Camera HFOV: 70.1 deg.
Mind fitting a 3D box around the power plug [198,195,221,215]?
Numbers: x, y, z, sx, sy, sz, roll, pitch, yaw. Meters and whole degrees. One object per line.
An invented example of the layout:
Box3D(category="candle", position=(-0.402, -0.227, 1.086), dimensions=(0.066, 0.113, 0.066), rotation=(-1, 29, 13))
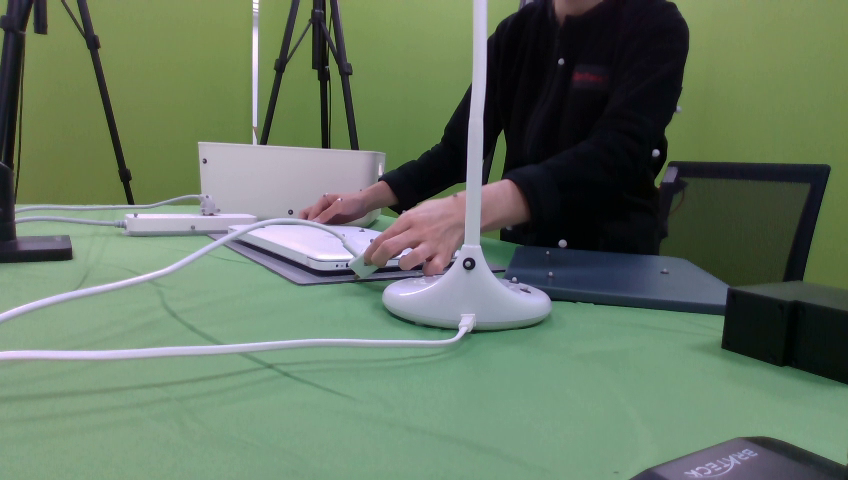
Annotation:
Box3D(category="power plug", position=(-0.387, -0.055, 1.089), dimensions=(0.035, 0.052, 0.072), rotation=(-1, 7, -22))

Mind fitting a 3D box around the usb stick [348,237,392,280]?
Box3D(category="usb stick", position=(-0.063, 0.024, 0.666), dimensions=(0.027, 0.059, 0.021), rotation=(39, 40, -12))

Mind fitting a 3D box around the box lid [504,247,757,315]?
Box3D(category="box lid", position=(0.244, 0.044, 0.793), dimensions=(0.263, 0.015, 0.372), rotation=(4, 6, 11))

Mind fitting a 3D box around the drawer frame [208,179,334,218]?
Box3D(category="drawer frame", position=(-0.327, -0.093, 1.328), dimensions=(0.213, 0.082, 0.202), rotation=(0, 5, 6))

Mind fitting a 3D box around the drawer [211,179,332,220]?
Box3D(category="drawer", position=(-0.328, -0.095, 1.332), dimensions=(0.212, 0.073, 0.194), rotation=(5, 8, 6))

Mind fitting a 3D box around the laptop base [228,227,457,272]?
Box3D(category="laptop base", position=(-0.122, 0.011, 0.889), dimensions=(0.237, 0.023, 0.352), rotation=(2, 6, -35))

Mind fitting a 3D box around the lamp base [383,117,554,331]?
Box3D(category="lamp base", position=(0.045, -0.019, 0.547), dimensions=(0.161, 0.180, 0.179), rotation=(2, 10, -4))

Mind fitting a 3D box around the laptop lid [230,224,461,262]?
Box3D(category="laptop lid", position=(-0.119, 0.000, 0.889), dimensions=(0.243, 0.013, 0.355), rotation=(1, 7, -33))

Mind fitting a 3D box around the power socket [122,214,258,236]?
Box3D(category="power socket", position=(-0.399, -0.028, 1.049), dimensions=(0.228, 0.032, 0.072), rotation=(-3, 8, -34))

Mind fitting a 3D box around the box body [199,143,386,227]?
Box3D(category="box body", position=(-0.276, -0.124, 1.335), dimensions=(0.364, 0.160, 0.254), rotation=(3, 7, 1))

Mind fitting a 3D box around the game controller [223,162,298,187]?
Box3D(category="game controller", position=(-0.357, -0.143, 1.322), dimensions=(0.156, 0.051, 0.097), rotation=(1, 3, -17))
